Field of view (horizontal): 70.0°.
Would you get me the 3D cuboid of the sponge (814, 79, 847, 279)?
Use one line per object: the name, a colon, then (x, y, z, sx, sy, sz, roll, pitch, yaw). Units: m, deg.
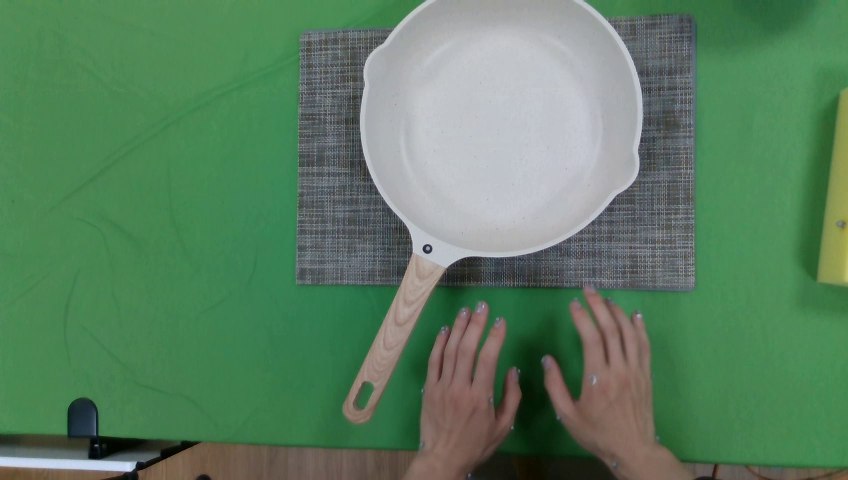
sponge: (0.478, -0.058, 0.606, 0.118, 0.061, 0.206, 7, 89, 8)

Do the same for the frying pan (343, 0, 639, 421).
frying pan: (0.030, -0.037, 0.644, 0.306, 0.103, 0.487, 26, 83, 9)
